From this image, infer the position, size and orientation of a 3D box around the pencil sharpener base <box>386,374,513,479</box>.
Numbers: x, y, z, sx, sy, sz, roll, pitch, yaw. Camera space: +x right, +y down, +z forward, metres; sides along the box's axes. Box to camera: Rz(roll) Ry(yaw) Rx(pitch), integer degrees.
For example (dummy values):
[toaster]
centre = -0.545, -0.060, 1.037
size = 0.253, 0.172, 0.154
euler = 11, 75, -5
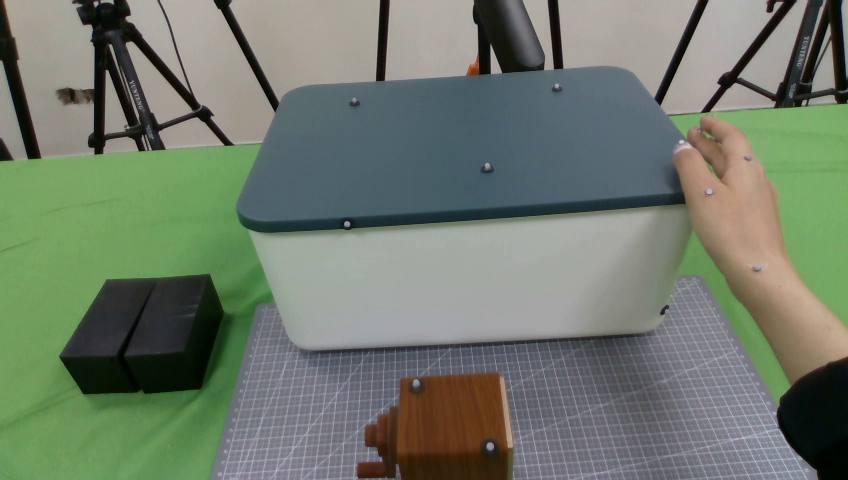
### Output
[pencil sharpener base]
centre = 0.018, 0.147, 0.409
size = 0.077, 0.108, 0.061
euler = -3, 38, 2

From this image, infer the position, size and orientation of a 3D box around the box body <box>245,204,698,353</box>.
[box body]
centre = 0.040, -0.033, 0.597
size = 0.364, 0.162, 0.251
euler = -3, 37, 1

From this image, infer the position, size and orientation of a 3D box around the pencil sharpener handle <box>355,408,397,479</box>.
[pencil sharpener handle]
centre = -0.034, 0.140, 0.403
size = 0.030, 0.068, 0.035
euler = -3, 41, 2

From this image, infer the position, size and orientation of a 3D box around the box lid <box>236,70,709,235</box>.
[box lid]
centre = 0.033, -0.092, 0.552
size = 0.371, 0.015, 0.260
euler = -3, 36, 1
